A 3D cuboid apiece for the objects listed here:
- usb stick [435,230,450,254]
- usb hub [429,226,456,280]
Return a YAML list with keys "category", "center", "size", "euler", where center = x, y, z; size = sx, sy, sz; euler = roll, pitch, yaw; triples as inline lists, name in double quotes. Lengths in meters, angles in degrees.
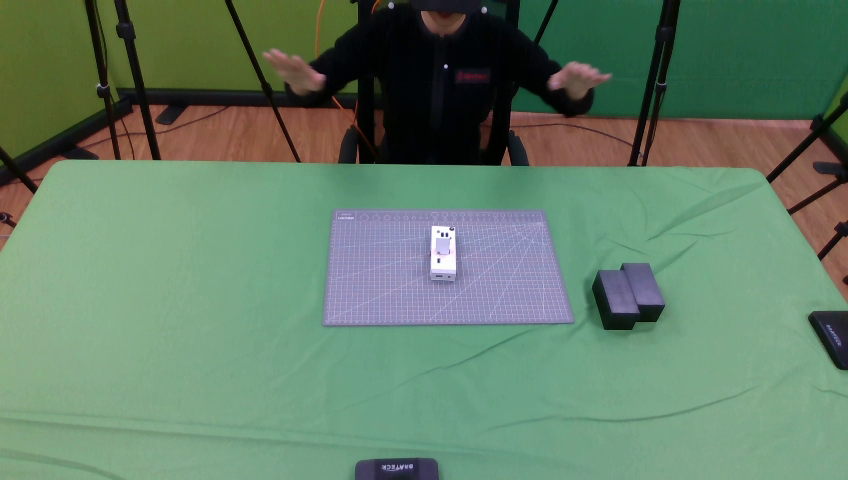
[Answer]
- category: "usb stick"
  center: [0.034, 0.009, 1.146]
  size: [0.027, 0.059, 0.021]
  euler: [3, 46, -4]
- category: "usb hub"
  center: [0.037, 0.024, 1.173]
  size: [0.049, 0.025, 0.124]
  euler: [3, 46, -2]
